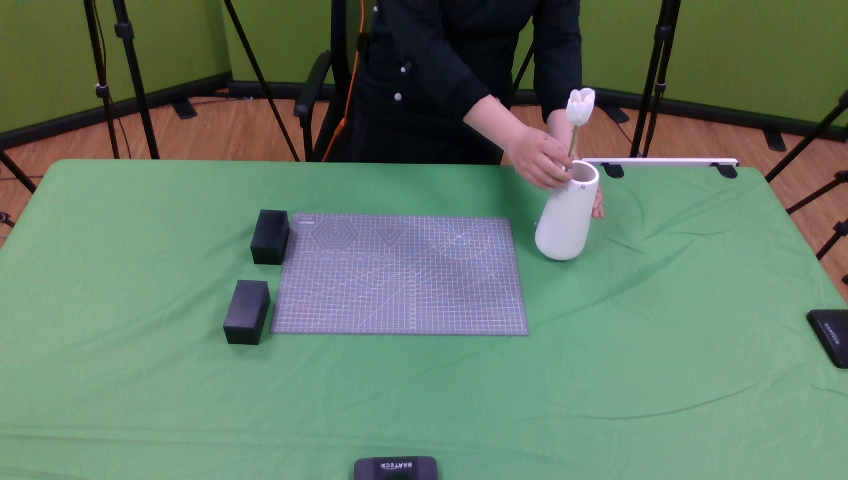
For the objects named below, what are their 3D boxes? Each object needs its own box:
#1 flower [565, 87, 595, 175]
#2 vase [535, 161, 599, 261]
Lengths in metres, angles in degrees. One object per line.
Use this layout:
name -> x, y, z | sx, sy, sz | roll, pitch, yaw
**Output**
flower -> 0.253, -0.132, 1.056 | 0.044, 0.363, 0.038 | -37, 64, -13
vase -> 0.271, -0.052, 1.145 | 0.098, 0.201, 0.097 | 1, 46, -1
